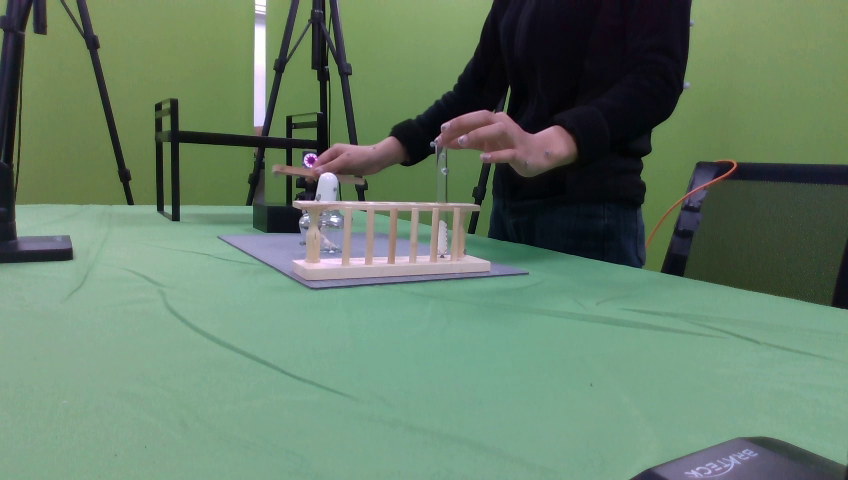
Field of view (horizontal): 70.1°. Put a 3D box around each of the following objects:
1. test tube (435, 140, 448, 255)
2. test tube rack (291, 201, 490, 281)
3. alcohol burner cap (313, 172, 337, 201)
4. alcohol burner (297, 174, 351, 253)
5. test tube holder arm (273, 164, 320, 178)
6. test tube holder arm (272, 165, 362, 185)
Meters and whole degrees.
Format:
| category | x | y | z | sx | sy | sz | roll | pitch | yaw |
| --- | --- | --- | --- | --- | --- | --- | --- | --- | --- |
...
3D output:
| category | x | y | z | sx | sy | sz | roll | pitch | yaw |
| --- | --- | --- | --- | --- | --- | --- | --- | --- | --- |
| test tube | 0.023 | -0.054 | 0.784 | 0.017 | 0.150 | 0.017 | -1 | 10 | 0 |
| test tube rack | -0.035 | -0.002 | 0.745 | 0.243 | 0.085 | 0.066 | -1 | 8 | -28 |
| alcohol burner cap | -0.144 | -0.076 | 0.888 | 0.034 | 0.048 | 0.034 | 8 | 6 | -1 |
| alcohol burner | -0.146 | -0.040 | 0.894 | 0.078 | 0.119 | 0.078 | 5 | 7 | 0 |
| test tube holder arm | -0.236 | -0.127 | 1.123 | 0.088 | 0.015 | 0.010 | 6 | -1 | -31 |
| test tube holder arm | -0.200 | -0.123 | 1.152 | 0.179 | 0.015 | 0.013 | 6 | -2 | -32 |
